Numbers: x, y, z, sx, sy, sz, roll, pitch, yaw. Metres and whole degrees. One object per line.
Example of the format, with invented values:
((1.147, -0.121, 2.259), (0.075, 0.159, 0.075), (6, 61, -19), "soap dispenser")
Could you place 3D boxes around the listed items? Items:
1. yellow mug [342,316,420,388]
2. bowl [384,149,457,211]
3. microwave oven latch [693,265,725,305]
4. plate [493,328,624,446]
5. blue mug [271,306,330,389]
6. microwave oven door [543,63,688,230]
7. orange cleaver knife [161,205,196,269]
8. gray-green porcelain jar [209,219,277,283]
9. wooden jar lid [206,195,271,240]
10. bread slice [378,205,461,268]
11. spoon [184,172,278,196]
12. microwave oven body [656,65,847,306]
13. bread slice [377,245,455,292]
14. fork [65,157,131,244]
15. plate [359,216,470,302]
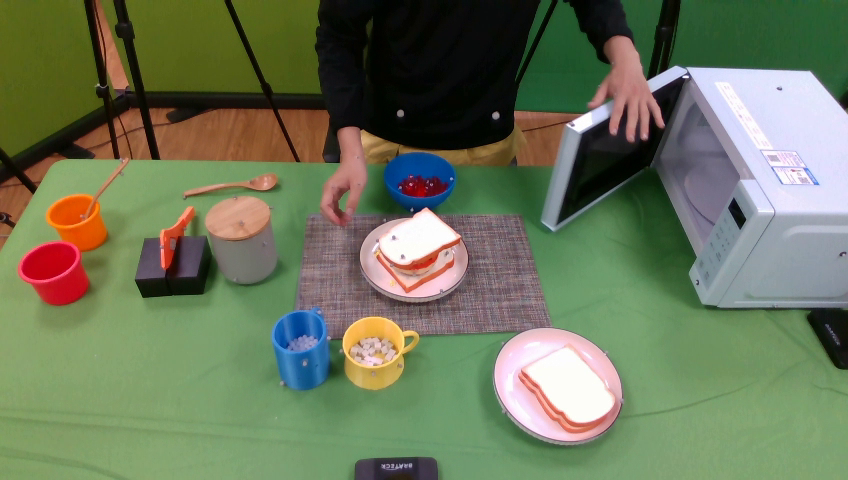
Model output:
((-0.068, 0.177, 0.990), (0.131, 0.064, 0.099), (-15, 50, -19), "yellow mug")
((-0.009, -0.112, 1.262), (0.151, 0.077, 0.150), (2, 46, -2), "bowl")
((0.523, 0.082, 1.116), (0.030, 0.029, 0.078), (2, 46, -1), "microwave oven latch")
((0.213, 0.236, 0.974), (0.208, 0.039, 0.206), (2, 46, -2), "plate")
((-0.188, 0.163, 0.969), (0.082, 0.106, 0.116), (15, 47, 10), "blue mug")
((0.391, -0.193, 1.227), (0.356, 0.245, 0.039), (-32, 56, -29), "microwave oven door")
((-0.454, -0.010, 1.129), (0.012, 0.077, 0.210), (-1, 20, -5), "orange cleaver knife")
((-0.323, 0.007, 1.092), (0.106, 0.127, 0.105), (2, 46, -2), "gray-green porcelain jar")
((-0.319, -0.036, 1.046), (0.108, 0.021, 0.107), (1, 44, 0), "wooden jar lid")
((-0.014, -0.002, 1.097), (0.134, 0.018, 0.106), (-34, 51, -22), "bread slice")
((-0.405, -0.116, 1.275), (0.194, 0.022, 0.041), (-8, 65, -12), "spoon")
((0.669, -0.111, 1.176), (0.326, 0.261, 0.439), (0, 46, -3), "microwave oven body")
((-0.010, 0.033, 1.149), (0.131, 0.019, 0.104), (-28, 55, -25), "bread slice")
((-0.609, -0.074, 1.133), (0.207, 0.019, 0.028), (-52, 50, 10), "fork")
((-0.019, 0.038, 1.140), (0.209, 0.038, 0.208), (2, 46, -2), "plate")
